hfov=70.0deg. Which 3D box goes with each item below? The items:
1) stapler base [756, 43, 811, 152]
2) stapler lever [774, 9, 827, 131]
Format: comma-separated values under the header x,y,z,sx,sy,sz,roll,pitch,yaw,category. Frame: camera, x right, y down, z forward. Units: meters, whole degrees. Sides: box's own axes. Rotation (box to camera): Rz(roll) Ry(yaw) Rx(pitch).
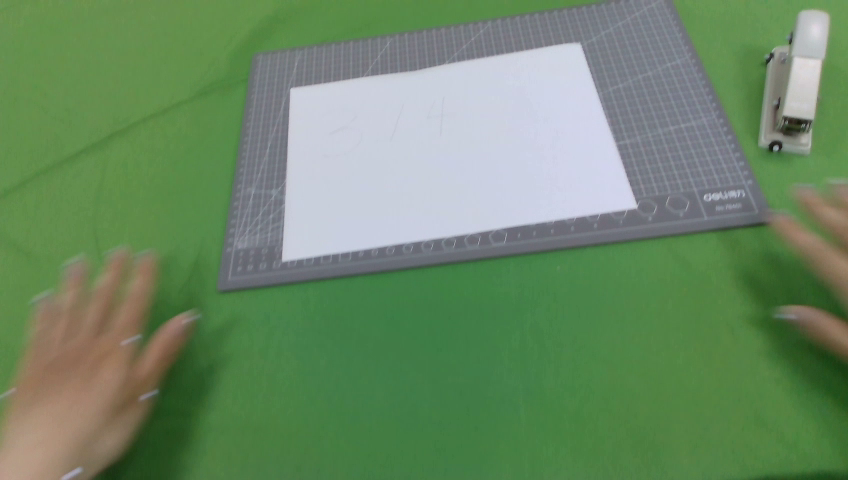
x,y,z,sx,sy,sz,roll,pitch,yaw,category
0.322,-0.134,0.533,0.041,0.025,0.130,12,61,20,stapler base
0.318,-0.146,0.511,0.026,0.040,0.117,12,61,20,stapler lever
